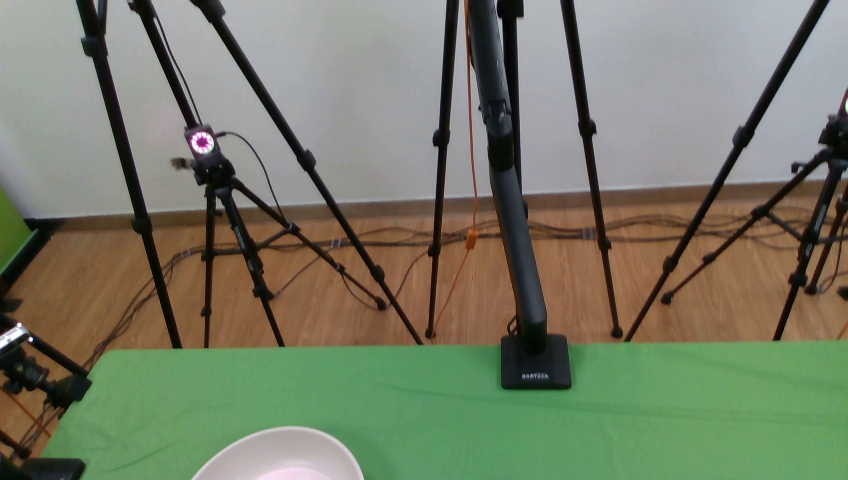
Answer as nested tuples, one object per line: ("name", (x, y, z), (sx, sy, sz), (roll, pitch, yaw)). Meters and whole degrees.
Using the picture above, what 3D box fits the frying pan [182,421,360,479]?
("frying pan", (-0.222, 0.465, 0.800), (0.307, 0.103, 0.483), (-9, 33, 1))
